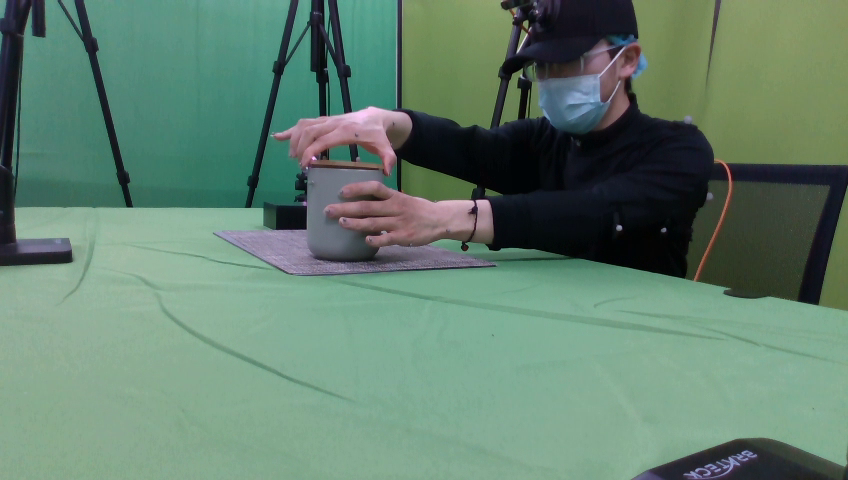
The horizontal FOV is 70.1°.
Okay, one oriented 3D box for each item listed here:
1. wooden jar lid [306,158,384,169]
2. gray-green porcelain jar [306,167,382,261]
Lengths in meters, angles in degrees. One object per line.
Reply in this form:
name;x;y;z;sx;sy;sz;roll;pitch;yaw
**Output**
wooden jar lid;-0.110;-0.101;0.841;0.108;0.020;0.108;4;4;0
gray-green porcelain jar;-0.112;-0.039;0.849;0.106;0.126;0.106;2;7;0
